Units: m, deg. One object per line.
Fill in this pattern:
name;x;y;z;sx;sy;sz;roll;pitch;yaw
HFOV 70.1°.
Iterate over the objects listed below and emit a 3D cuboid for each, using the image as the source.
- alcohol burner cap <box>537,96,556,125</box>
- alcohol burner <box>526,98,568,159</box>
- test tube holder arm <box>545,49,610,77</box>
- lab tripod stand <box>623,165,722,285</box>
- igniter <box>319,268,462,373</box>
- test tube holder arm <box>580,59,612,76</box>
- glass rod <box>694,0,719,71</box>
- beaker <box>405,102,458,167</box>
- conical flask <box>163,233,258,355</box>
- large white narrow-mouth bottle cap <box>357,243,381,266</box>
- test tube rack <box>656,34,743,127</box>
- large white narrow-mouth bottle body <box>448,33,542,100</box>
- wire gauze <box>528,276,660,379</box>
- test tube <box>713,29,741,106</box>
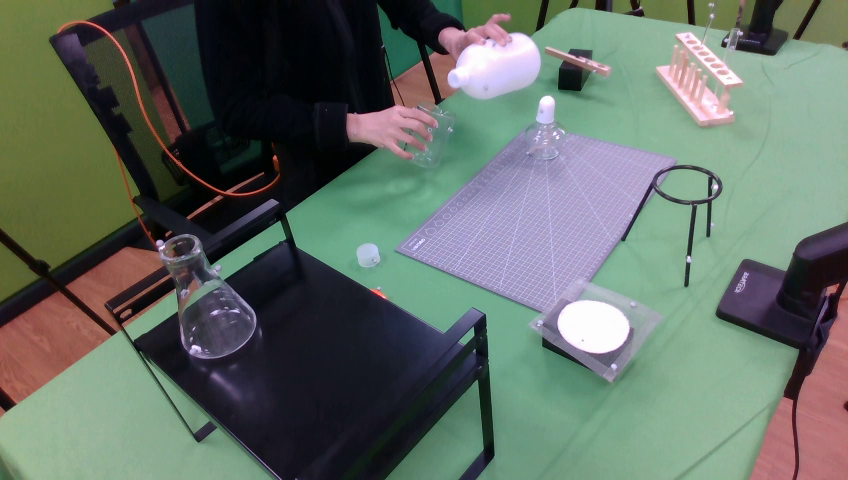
alcohol burner cap;0.223;-0.237;1.094;0.034;0.048;0.033;-1;42;1
alcohol burner;0.228;-0.210;1.118;0.078;0.119;0.077;-5;43;5
test tube holder arm;0.331;-0.387;1.315;0.013;0.015;0.177;-26;43;-29
lab tripod stand;0.365;-0.030;0.874;0.148;0.132;0.147;-6;41;6
igniter;-0.059;0.107;0.862;0.274;0.025;0.057;28;62;35
test tube holder arm;0.363;-0.368;1.289;0.010;0.015;0.087;-26;43;-29
glass rod;0.560;-0.401;1.214;0.008;0.200;0.008;-1;48;2
beaker;0.012;-0.189;1.088;0.074;0.100;0.084;23;23;7
conical flask;-0.217;0.051;0.601;0.075;0.122;0.075;-4;40;4
large white narrow-mouth bottle cap;-0.088;0.023;0.972;0.038;0.024;0.037;-4;41;4
test tube rack;0.553;-0.330;1.233;0.067;0.085;0.241;-7;40;2
large white narrow-mouth bottle body;0.122;-0.313;1.110;0.196;0.102;0.101;-27;43;-35
wire gauze;0.213;0.103;0.763;0.124;0.011;0.122;30;52;35
test tube;0.572;-0.324;1.146;0.017;0.151;0.017;-3;39;3
